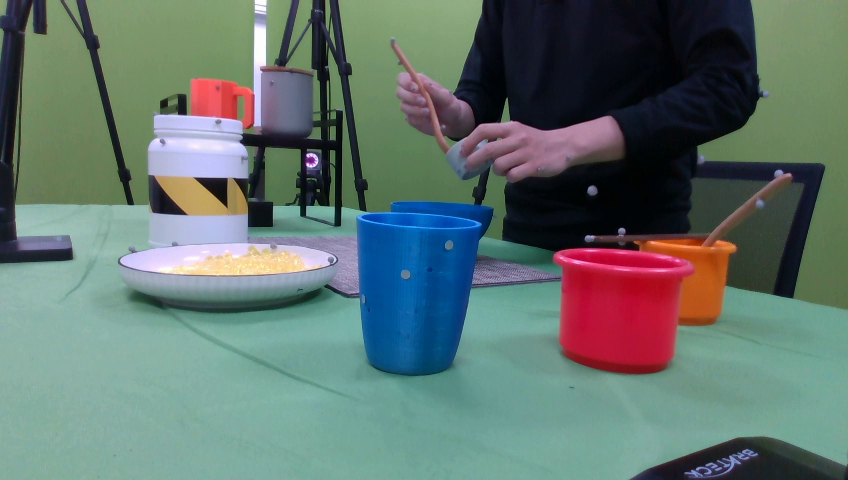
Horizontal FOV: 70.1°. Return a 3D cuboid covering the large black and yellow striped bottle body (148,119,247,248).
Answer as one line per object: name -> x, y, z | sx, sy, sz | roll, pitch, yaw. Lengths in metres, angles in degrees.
large black and yellow striped bottle body -> -0.318, -0.076, 0.855 | 0.131, 0.184, 0.130 | 2, 7, 0

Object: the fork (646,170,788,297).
fork -> 0.256, 0.004, 0.543 | 0.028, 0.018, 0.207 | 3, -36, -9

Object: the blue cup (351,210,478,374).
blue cup -> -0.009, 0.034, 0.414 | 0.093, 0.100, 0.092 | 4, 8, 0

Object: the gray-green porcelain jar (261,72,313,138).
gray-green porcelain jar -> -0.284, -0.276, 1.253 | 0.106, 0.126, 0.106 | 2, 8, 0

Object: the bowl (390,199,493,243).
bowl -> 0.023, -0.015, 0.874 | 0.151, 0.077, 0.151 | 3, 7, 0

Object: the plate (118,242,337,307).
plate -> -0.194, 0.033, 0.615 | 0.209, 0.038, 0.209 | 2, 7, 0

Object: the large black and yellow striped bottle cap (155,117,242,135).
large black and yellow striped bottle cap -> -0.313, -0.159, 0.845 | 0.115, 0.019, 0.115 | 3, 9, 0

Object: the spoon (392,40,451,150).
spoon -> 0.006, -0.192, 0.836 | 0.021, 0.193, 0.041 | -26, 0, 8

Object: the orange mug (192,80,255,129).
orange mug -> -0.388, -0.257, 1.173 | 0.126, 0.100, 0.083 | -1, 7, 9

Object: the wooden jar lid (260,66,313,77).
wooden jar lid -> -0.283, -0.339, 1.244 | 0.108, 0.020, 0.108 | 6, 8, -1

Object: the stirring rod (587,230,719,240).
stirring rod -> 0.226, -0.005, 0.587 | 0.177, 0.006, 0.014 | -2, 10, -29

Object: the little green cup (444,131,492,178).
little green cup -> 0.062, -0.115, 0.828 | 0.061, 0.038, 0.061 | -29, -14, -7
